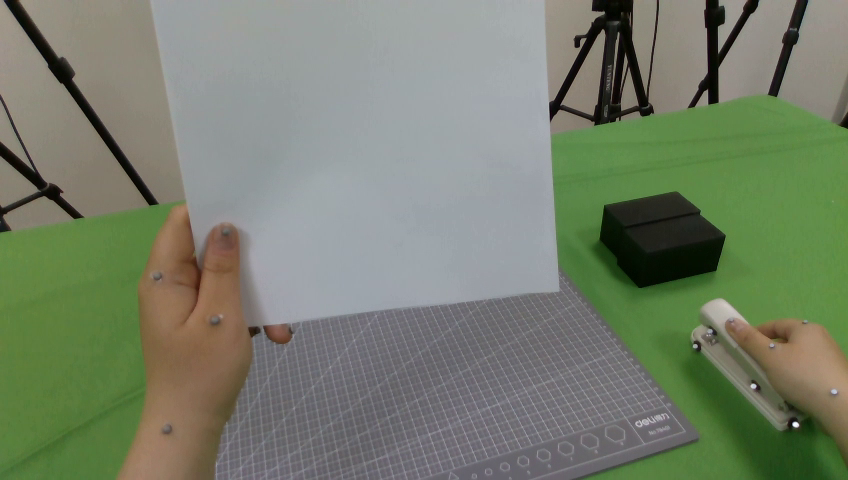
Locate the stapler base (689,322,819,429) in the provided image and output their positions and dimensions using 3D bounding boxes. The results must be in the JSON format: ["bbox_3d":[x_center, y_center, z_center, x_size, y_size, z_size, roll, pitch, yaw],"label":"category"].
[{"bbox_3d":[0.301,0.114,0.565,0.041,0.025,0.129,-28,40,-2],"label":"stapler base"}]

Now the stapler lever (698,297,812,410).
[{"bbox_3d":[0.295,0.097,0.548,0.027,0.040,0.116,-28,39,-2],"label":"stapler lever"}]
